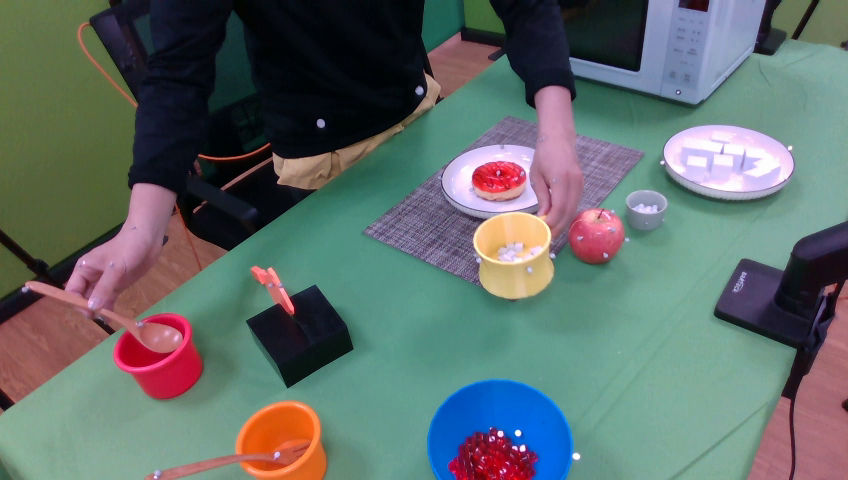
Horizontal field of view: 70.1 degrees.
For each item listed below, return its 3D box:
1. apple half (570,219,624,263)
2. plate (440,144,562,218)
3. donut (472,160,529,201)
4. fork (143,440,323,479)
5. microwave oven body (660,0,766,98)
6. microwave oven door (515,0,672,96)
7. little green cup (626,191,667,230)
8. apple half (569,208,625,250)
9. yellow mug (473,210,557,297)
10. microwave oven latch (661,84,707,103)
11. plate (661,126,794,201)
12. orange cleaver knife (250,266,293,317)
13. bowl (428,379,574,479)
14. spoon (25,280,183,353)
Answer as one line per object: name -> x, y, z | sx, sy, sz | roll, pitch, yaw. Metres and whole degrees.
apple half -> 0.250, 0.009, 0.885 | 0.081, 0.081, 0.033 | 7, 39, 17
plate -> 0.134, -0.098, 1.051 | 0.209, 0.038, 0.208 | -4, 40, 4
donut -> 0.132, -0.105, 1.043 | 0.099, 0.048, 0.098 | -5, 37, 4
fork -> -0.189, 0.231, 0.631 | 0.028, 0.018, 0.209 | 36, 13, 37
microwave oven body -> 0.472, -0.513, 1.317 | 0.438, 0.261, 0.327 | 26, 51, 34
microwave oven door -> 0.343, -0.455, 1.259 | 0.353, 0.245, 0.039 | 26, 51, 33
little green cup -> 0.352, -0.046, 0.963 | 0.061, 0.039, 0.061 | -4, 40, 4
apple half -> 0.262, -0.014, 0.913 | 0.080, 0.075, 0.053 | 5, 37, 20
yellow mug -> 0.128, 0.008, 0.792 | 0.131, 0.064, 0.099 | -35, 44, -24
microwave oven latch -> 0.516, -0.296, 1.204 | 0.078, 0.029, 0.030 | 24, 50, 33
plate -> 0.513, -0.127, 1.035 | 0.207, 0.039, 0.206 | -4, 40, 4
orange cleaver knife -> -0.221, 0.071, 0.873 | 0.012, 0.077, 0.210 | -25, 11, -21
bowl -> 0.082, 0.233, 0.644 | 0.151, 0.077, 0.150 | -4, 39, 4
spoon -> -0.401, 0.093, 0.766 | 0.021, 0.195, 0.041 | -33, 34, 42
